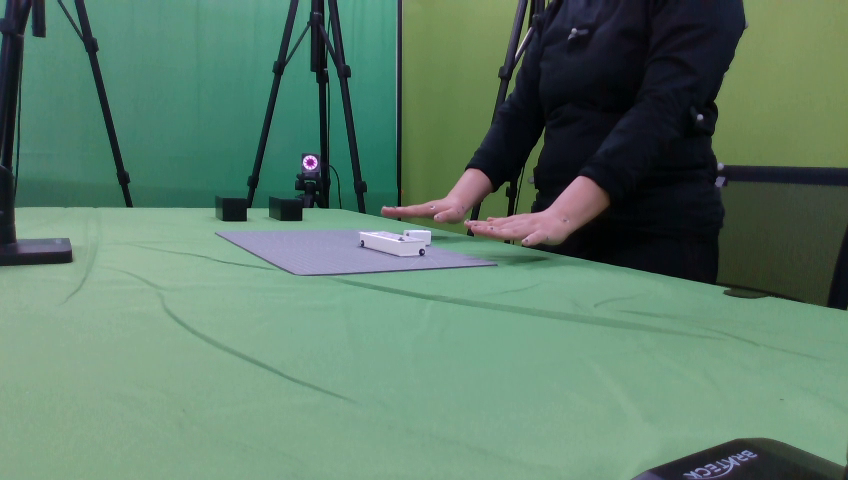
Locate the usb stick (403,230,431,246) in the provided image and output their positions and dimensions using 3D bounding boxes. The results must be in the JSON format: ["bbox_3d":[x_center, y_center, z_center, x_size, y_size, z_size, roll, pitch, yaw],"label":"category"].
[{"bbox_3d":[-0.019,-0.003,1.020,0.059,0.027,0.021,-6,14,-34],"label":"usb stick"}]

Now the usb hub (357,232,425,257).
[{"bbox_3d":[-0.055,0.005,0.947,0.050,0.025,0.124,-3,9,-36],"label":"usb hub"}]
